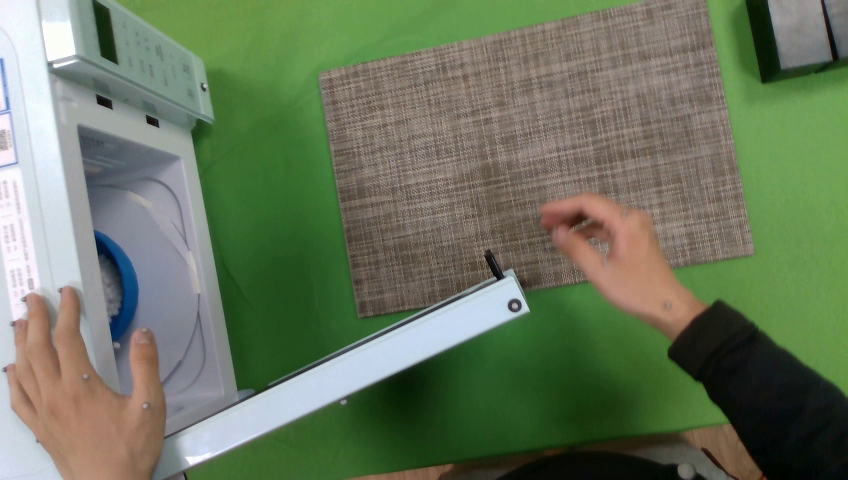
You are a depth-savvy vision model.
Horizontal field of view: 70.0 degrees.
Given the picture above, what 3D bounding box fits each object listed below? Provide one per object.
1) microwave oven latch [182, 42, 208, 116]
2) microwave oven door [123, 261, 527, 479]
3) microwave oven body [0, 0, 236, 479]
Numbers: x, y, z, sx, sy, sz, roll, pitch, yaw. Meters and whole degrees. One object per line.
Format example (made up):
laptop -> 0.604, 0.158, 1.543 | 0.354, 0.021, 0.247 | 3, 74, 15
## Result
microwave oven latch -> -0.280, -0.189, 0.717 | 0.030, 0.029, 0.079 | -11, 89, 7
microwave oven door -> -0.068, 0.114, 0.584 | 0.356, 0.244, 0.039 | -27, 85, 7
microwave oven body -> -0.402, 0.012, 0.635 | 0.326, 0.260, 0.441 | -12, 88, 7
